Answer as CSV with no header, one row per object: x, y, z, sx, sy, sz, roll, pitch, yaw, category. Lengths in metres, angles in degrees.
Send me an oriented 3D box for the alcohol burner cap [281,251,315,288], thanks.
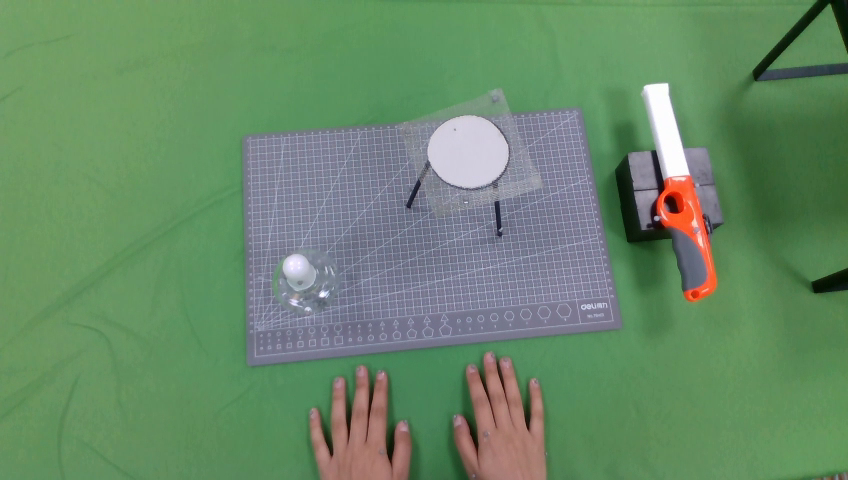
-0.137,0.029,0.649,0.034,0.048,0.033,0,69,1,alcohol burner cap

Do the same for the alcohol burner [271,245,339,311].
-0.137,0.039,0.684,0.078,0.119,0.077,1,75,-2,alcohol burner

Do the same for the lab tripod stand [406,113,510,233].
0.048,-0.083,0.713,0.148,0.132,0.147,0,72,0,lab tripod stand

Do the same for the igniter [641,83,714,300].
0.301,-0.063,0.723,0.057,0.025,0.274,-5,72,0,igniter

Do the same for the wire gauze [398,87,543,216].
0.049,-0.095,0.646,0.125,0.011,0.120,-18,75,-6,wire gauze
